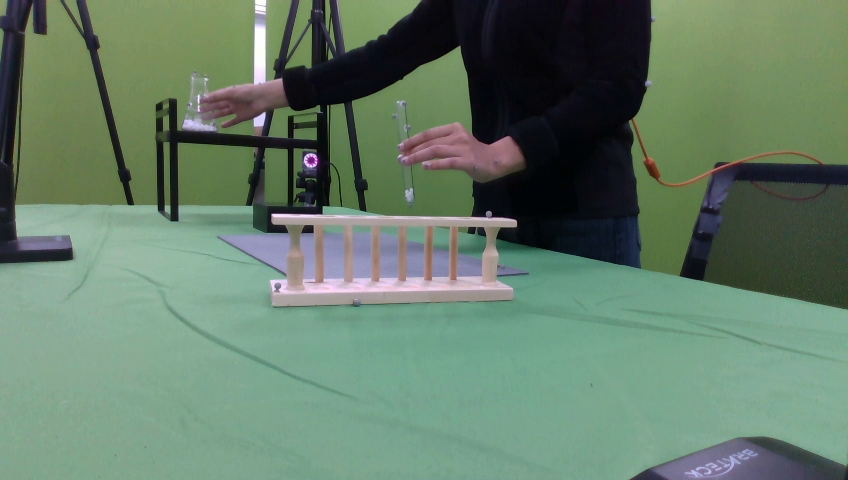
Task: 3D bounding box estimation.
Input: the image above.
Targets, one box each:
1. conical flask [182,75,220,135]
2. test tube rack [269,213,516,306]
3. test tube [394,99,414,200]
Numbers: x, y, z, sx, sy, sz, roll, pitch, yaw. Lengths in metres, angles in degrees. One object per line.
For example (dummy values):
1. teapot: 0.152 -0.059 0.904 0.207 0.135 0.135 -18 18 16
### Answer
1. conical flask: -0.475 -0.287 1.288 0.075 0.122 0.075 2 7 0
2. test tube rack: -0.032 0.015 0.617 0.243 0.085 0.066 0 7 -17
3. test tube: -0.029 -0.134 0.898 0.017 0.150 0.017 -6 7 1
